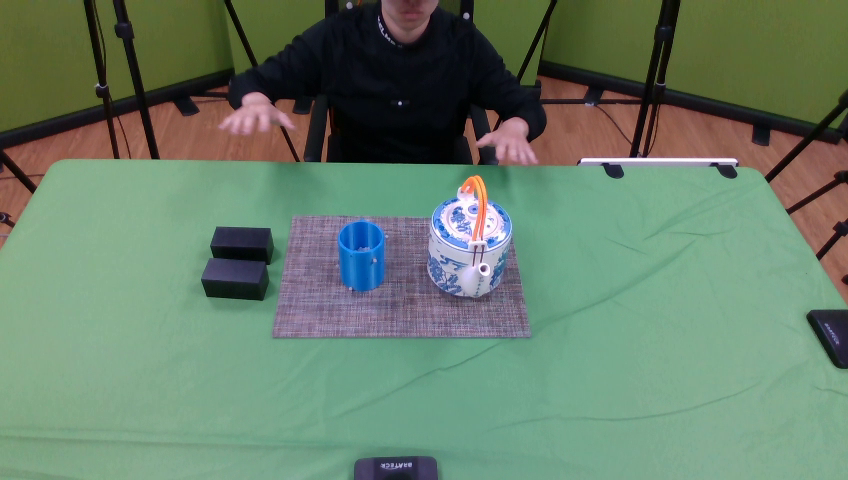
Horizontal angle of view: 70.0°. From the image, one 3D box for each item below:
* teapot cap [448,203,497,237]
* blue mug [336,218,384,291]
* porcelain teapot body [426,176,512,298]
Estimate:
[{"bbox_3d":[0.084,-0.038,1.041,0.085,0.044,0.084,0,48,0],"label":"teapot cap"},{"bbox_3d":[-0.115,0.018,1.110,0.082,0.106,0.116,1,46,-3],"label":"blue mug"},{"bbox_3d":[0.085,0.009,1.051,0.145,0.226,0.204,-5,47,-9],"label":"porcelain teapot body"}]
